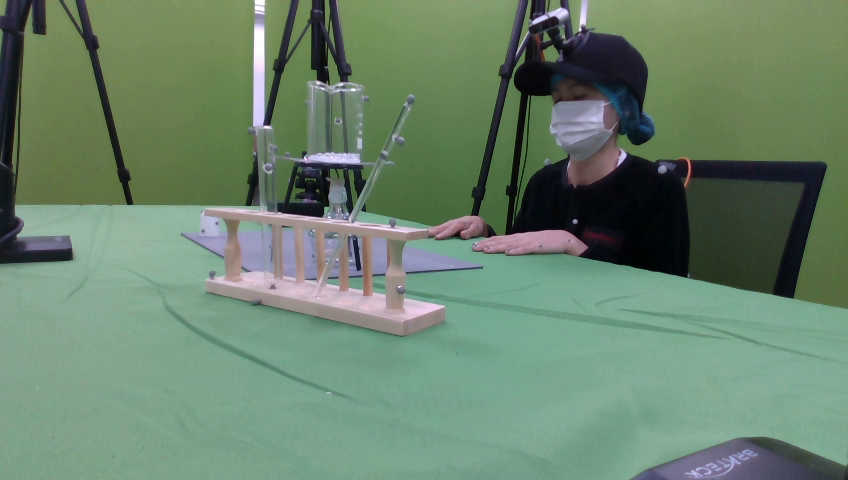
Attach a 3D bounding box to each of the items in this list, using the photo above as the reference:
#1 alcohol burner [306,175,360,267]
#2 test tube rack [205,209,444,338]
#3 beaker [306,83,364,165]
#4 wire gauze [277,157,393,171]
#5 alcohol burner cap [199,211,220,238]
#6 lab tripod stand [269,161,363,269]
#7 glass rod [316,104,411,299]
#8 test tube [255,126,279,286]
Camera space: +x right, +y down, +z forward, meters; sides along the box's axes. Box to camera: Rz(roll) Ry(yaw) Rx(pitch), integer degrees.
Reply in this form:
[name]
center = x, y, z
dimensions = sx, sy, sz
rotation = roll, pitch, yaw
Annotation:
[alcohol burner]
center = -0.115, -0.025, 0.791
dimensions = 0.078, 0.119, 0.078
rotation = 1, 8, 0
[test tube rack]
center = -0.100, 0.021, 0.565
dimensions = 0.241, 0.085, 0.067
rotation = 7, 8, 32
[beaker]
center = -0.115, -0.147, 0.775
dimensions = 0.074, 0.100, 0.084
rotation = 2, 8, -2
[wire gauze]
center = -0.122, -0.100, 0.786
dimensions = 0.122, 0.011, 0.124
rotation = -5, 14, -38
[alcohol burner cap]
center = -0.356, -0.027, 1.002
dimensions = 0.034, 0.048, 0.034
rotation = 2, 7, 0
[lab tripod stand]
center = -0.125, -0.036, 0.794
dimensions = 0.148, 0.131, 0.148
rotation = 5, 7, 0
[glass rod]
center = -0.054, -0.026, 0.517
dimensions = 0.008, 0.199, 0.008
rotation = 23, 24, -11
[test tube]
center = -0.147, -0.031, 0.566
dimensions = 0.017, 0.150, 0.017
rotation = -1, 8, 0
